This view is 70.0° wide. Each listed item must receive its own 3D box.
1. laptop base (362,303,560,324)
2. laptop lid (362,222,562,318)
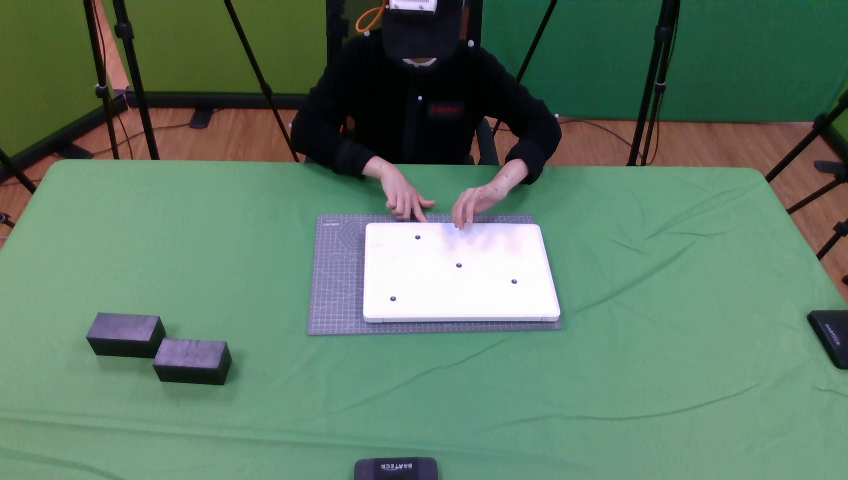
[{"bbox_3d":[0.064,0.063,1.143,0.355,0.023,0.234,0,43,-4],"label":"laptop base"},{"bbox_3d":[0.064,0.050,1.132,0.357,0.013,0.240,1,46,-3],"label":"laptop lid"}]
